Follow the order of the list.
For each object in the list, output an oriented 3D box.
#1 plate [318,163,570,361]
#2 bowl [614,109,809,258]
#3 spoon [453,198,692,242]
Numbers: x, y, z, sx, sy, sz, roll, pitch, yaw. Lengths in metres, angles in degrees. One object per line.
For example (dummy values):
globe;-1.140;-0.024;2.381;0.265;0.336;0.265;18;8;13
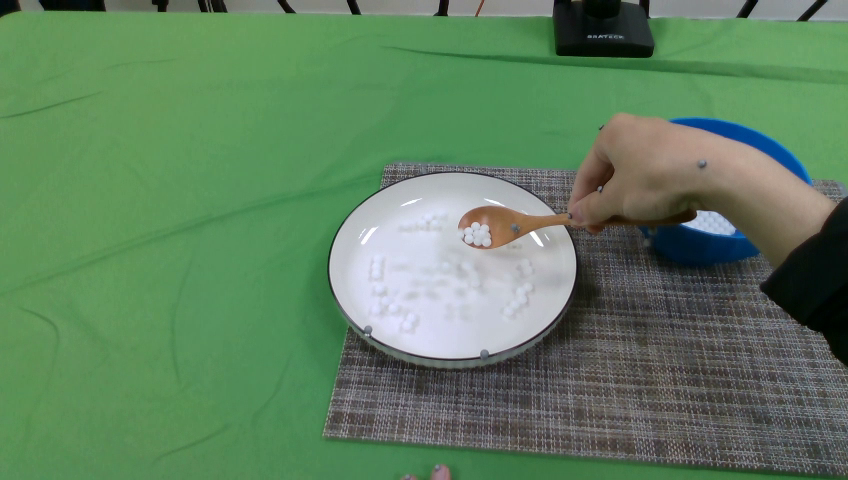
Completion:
plate;0.017;0.017;0.516;0.207;0.039;0.205;-1;49;1
bowl;0.236;-0.038;0.526;0.151;0.077;0.150;-1;49;1
spoon;0.103;-0.019;0.464;0.192;0.022;0.041;-2;62;43
